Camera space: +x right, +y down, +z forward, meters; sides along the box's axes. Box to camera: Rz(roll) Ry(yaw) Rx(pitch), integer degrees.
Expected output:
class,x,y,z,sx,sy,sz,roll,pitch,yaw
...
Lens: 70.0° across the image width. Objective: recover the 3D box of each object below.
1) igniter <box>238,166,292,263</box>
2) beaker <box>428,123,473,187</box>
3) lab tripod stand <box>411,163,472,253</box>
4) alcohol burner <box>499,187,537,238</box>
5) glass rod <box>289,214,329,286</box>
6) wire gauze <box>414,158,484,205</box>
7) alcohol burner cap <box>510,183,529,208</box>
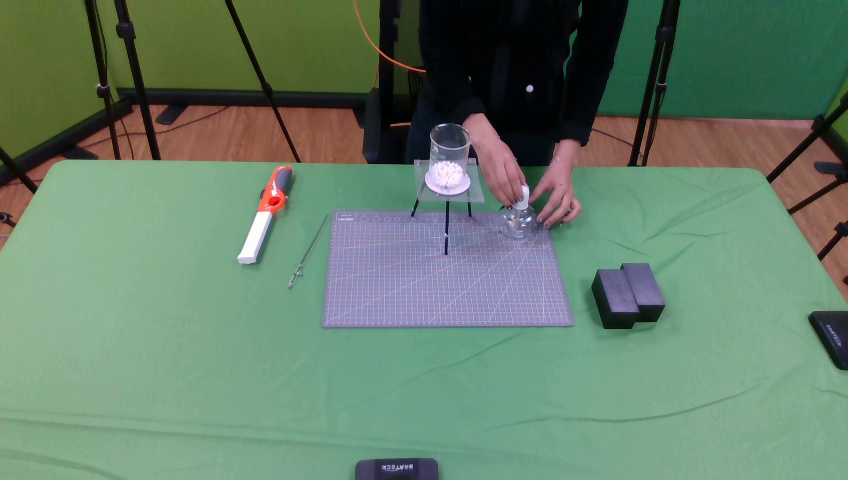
class,x,y,z,sx,sy,sz,roll,pitch,yaw
igniter,-0.318,-0.060,1.229,0.057,0.025,0.275,-2,45,10
beaker,0.044,-0.154,1.109,0.074,0.101,0.083,-25,54,-25
lab tripod stand,0.043,-0.069,1.187,0.148,0.132,0.147,3,47,-3
alcohol burner,0.189,-0.061,1.202,0.078,0.120,0.077,1,48,-1
glass rod,-0.221,0.014,1.179,0.008,0.008,0.199,12,46,8
wire gauze,0.045,-0.113,1.137,0.125,0.011,0.120,1,48,-6
alcohol burner cap,0.188,-0.089,1.179,0.034,0.048,0.033,4,48,-4
